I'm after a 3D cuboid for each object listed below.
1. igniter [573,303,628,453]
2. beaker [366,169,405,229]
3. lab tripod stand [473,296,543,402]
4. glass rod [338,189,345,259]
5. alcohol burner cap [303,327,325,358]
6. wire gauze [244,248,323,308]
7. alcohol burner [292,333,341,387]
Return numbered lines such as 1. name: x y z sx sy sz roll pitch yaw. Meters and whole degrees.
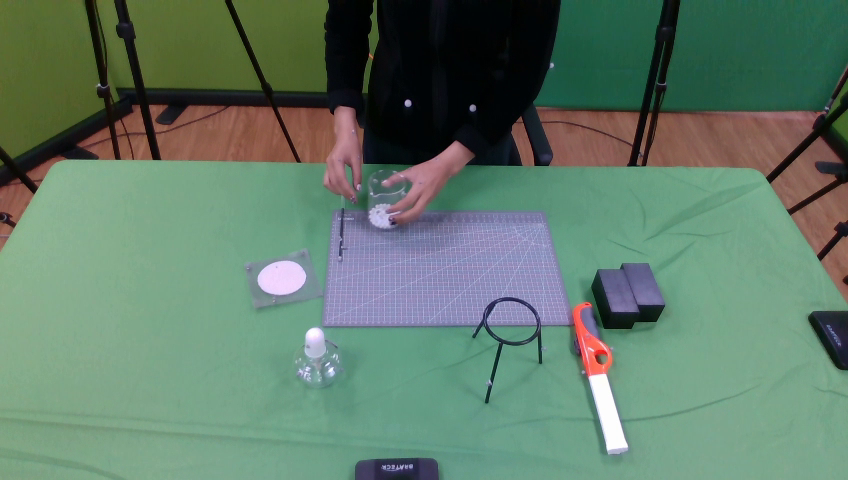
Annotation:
1. igniter: 0.288 0.216 1.006 0.057 0.025 0.274 -10 46 8
2. beaker: -0.080 -0.076 1.193 0.074 0.101 0.084 27 48 20
3. lab tripod stand: 0.132 0.168 0.969 0.148 0.132 0.147 3 48 -3
4. glass rod: -0.166 -0.037 1.226 0.008 0.008 0.198 -1 47 -4
5. alcohol burner cap: -0.169 0.154 0.925 0.034 0.048 0.033 4 41 -3
6. wire gauze: -0.262 0.071 1.121 0.125 0.011 0.120 -11 48 -17
7. alcohol burner: -0.170 0.179 0.950 0.078 0.120 0.077 2 48 -2
